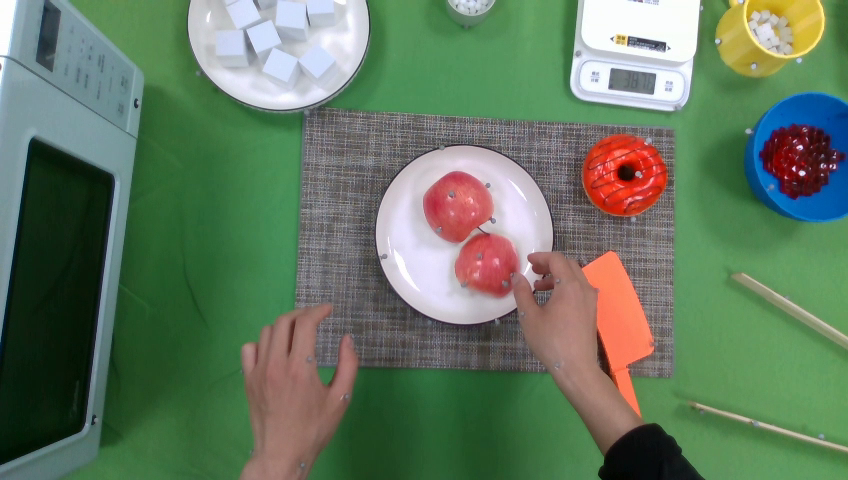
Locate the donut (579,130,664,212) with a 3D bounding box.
[{"bbox_3d":[0.233,-0.081,0.717,0.099,0.048,0.099,0,86,-2],"label":"donut"}]

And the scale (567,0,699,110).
[{"bbox_3d":[0.258,-0.267,0.743,0.149,0.031,0.200,7,86,-3],"label":"scale"}]

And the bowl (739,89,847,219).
[{"bbox_3d":[0.436,-0.094,0.719,0.151,0.077,0.151,0,86,-4],"label":"bowl"}]

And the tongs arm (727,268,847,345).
[{"bbox_3d":[0.531,0.144,0.728,0.387,0.028,0.028,33,78,-1],"label":"tongs arm"}]

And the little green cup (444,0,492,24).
[{"bbox_3d":[0.052,-0.292,0.728,0.061,0.038,0.061,0,85,-3],"label":"little green cup"}]

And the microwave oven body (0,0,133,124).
[{"bbox_3d":[-0.491,-0.009,0.553,0.326,0.260,0.440,5,86,-4],"label":"microwave oven body"}]

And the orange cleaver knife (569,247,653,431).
[{"bbox_3d":[0.231,0.115,0.715,0.077,0.012,0.211,-15,86,-10],"label":"orange cleaver knife"}]

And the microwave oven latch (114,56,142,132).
[{"bbox_3d":[-0.334,-0.163,0.672,0.030,0.029,0.079,7,86,-4],"label":"microwave oven latch"}]

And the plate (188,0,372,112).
[{"bbox_3d":[-0.165,-0.249,0.709,0.208,0.039,0.207,0,85,-4],"label":"plate"}]

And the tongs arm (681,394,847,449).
[{"bbox_3d":[0.496,0.223,0.719,0.385,0.026,0.050,18,82,-2],"label":"tongs arm"}]

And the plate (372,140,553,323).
[{"bbox_3d":[0.043,-0.009,0.702,0.209,0.038,0.208,0,85,-4],"label":"plate"}]

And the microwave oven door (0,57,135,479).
[{"bbox_3d":[-0.349,0.046,0.553,0.039,0.244,0.355,5,85,-3],"label":"microwave oven door"}]

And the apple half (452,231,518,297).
[{"bbox_3d":[0.074,0.025,0.693,0.081,0.033,0.081,1,83,-6],"label":"apple half"}]

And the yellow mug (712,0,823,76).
[{"bbox_3d":[0.408,-0.273,0.736,0.100,0.064,0.130,-30,87,-5],"label":"yellow mug"}]

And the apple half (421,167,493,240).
[{"bbox_3d":[0.038,-0.045,0.688,0.081,0.053,0.074,-35,85,-6],"label":"apple half"}]
